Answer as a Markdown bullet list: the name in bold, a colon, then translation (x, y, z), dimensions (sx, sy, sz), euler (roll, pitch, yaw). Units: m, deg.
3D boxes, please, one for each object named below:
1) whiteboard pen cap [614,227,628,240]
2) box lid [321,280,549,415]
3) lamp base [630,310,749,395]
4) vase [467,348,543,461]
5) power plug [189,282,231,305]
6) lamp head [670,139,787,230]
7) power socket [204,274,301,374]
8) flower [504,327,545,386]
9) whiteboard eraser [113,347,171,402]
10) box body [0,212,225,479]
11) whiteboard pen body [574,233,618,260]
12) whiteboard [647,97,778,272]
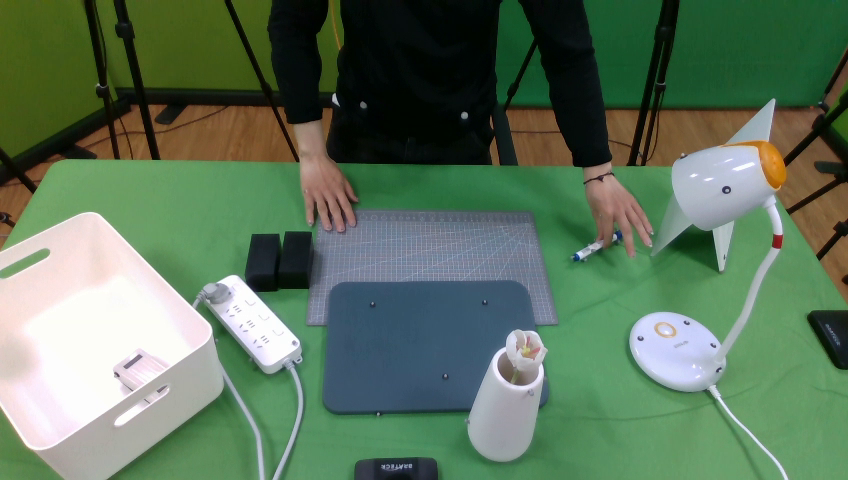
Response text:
- **whiteboard pen cap**: translation (0.400, -0.013, 1.234), dimensions (0.033, 0.018, 0.018), euler (-24, 53, -28)
- **box lid**: translation (0.013, 0.174, 1.040), dimensions (0.372, 0.015, 0.261), euler (0, 47, -5)
- **lamp base**: translation (0.447, 0.143, 0.984), dimensions (0.161, 0.181, 0.178), euler (-24, 55, -24)
- **vase**: translation (0.116, 0.234, 0.861), dimensions (0.098, 0.201, 0.097), euler (1, 47, -1)
- **power plug**: translation (-0.368, 0.097, 1.038), dimensions (0.072, 0.053, 0.035), euler (-27, 54, -21)
- **lamp head**: translation (0.415, -0.079, 0.812), dimensions (0.113, 0.123, 0.112), euler (12, 70, -37)
- **power socket**: translation (-0.297, 0.140, 1.035), dimensions (0.072, 0.033, 0.225), euler (-33, 57, -29)
- **flower**: translation (0.114, 0.189, 0.790), dimensions (0.044, 0.363, 0.038), euler (33, 69, 19)
- **whiteboard eraser**: translation (-0.420, 0.215, 0.936), dimensions (0.112, 0.042, 0.055), euler (25, 48, 21)
- **box body**: translation (-0.506, 0.155, 0.915), dimensions (0.362, 0.161, 0.254), euler (35, 54, 26)
- **whiteboard pen body**: translation (0.351, 0.008, 1.209), dimensions (0.141, 0.017, 0.017), euler (-25, 53, -27)
- **whiteboard**: translation (0.602, -0.079, 1.162), dimensions (0.144, 0.306, 0.216), euler (35, 51, 2)
